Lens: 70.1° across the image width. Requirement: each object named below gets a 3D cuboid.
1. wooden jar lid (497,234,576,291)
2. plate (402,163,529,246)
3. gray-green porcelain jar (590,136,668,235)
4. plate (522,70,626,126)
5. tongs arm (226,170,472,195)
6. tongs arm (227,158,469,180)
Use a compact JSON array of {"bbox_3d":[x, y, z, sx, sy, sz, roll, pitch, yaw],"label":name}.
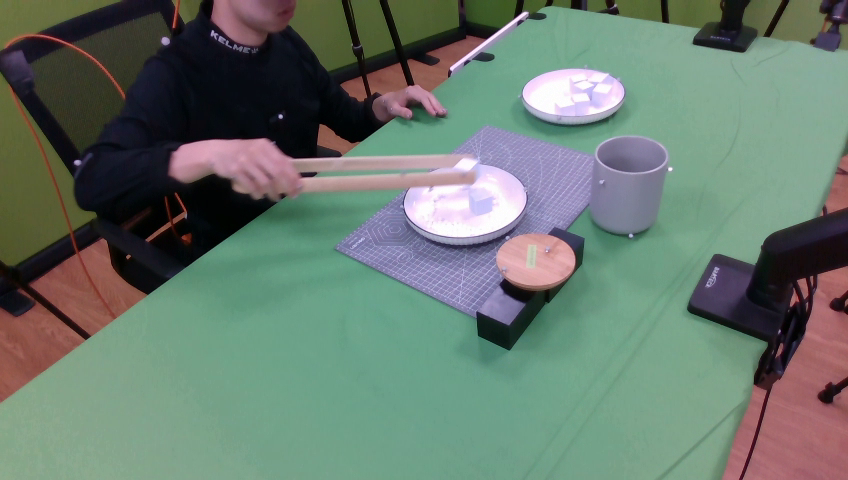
[{"bbox_3d":[0.155,0.032,0.834,0.108,0.021,0.108,-5,40,5],"label":"wooden jar lid"},{"bbox_3d":[0.070,-0.056,1.008,0.209,0.038,0.208,-4,40,4],"label":"plate"},{"bbox_3d":[0.314,-0.080,0.937,0.106,0.127,0.105,-4,41,4],"label":"gray-green porcelain jar"},{"bbox_3d":[0.308,-0.290,1.251,0.207,0.039,0.206,-4,40,4],"label":"plate"},{"bbox_3d":[-0.118,-0.097,0.957,0.386,0.026,0.050,-4,42,-5],"label":"tongs arm"},{"bbox_3d":[-0.119,-0.115,0.979,0.388,0.028,0.028,-2,45,-3],"label":"tongs arm"}]
